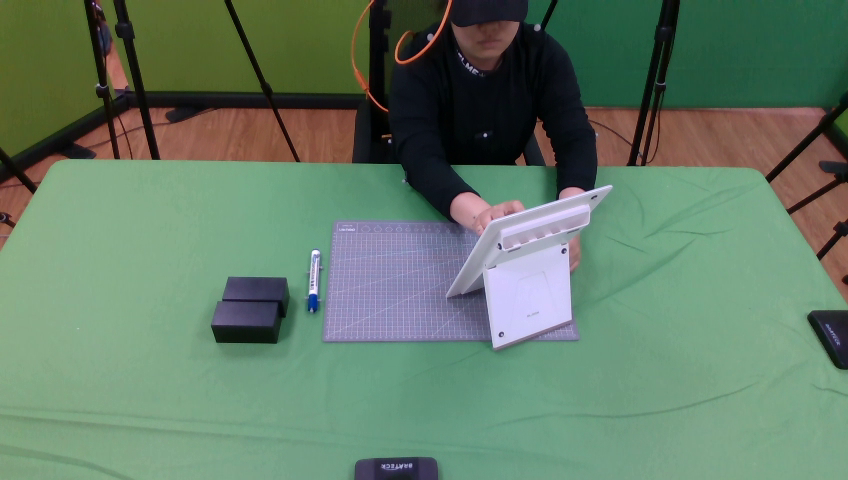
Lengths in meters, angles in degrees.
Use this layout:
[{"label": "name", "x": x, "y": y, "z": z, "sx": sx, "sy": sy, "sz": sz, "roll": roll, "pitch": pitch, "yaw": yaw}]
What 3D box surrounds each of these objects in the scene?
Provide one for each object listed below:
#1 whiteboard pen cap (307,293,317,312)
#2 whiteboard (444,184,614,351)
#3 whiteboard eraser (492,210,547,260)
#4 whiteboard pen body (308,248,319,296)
[{"label": "whiteboard pen cap", "x": -0.199, "y": 0.110, "z": 1.078, "sx": 0.018, "sy": 0.018, "sz": 0.033, "roll": -2, "pitch": 47, "yaw": -6}, {"label": "whiteboard", "x": 0.186, "y": 0.065, "z": 0.989, "sx": 0.217, "sy": 0.306, "sz": 0.143, "roll": -16, "pitch": 68, "yaw": -18}, {"label": "whiteboard eraser", "x": 0.163, "y": -0.005, "z": 1.031, "sx": 0.056, "sy": 0.113, "sz": 0.041, "roll": -15, "pitch": 67, "yaw": -26}, {"label": "whiteboard pen body", "x": -0.204, "y": 0.069, "z": 1.119, "sx": 0.017, "sy": 0.017, "sz": 0.140, "roll": -1, "pitch": 46, "yaw": -5}]
